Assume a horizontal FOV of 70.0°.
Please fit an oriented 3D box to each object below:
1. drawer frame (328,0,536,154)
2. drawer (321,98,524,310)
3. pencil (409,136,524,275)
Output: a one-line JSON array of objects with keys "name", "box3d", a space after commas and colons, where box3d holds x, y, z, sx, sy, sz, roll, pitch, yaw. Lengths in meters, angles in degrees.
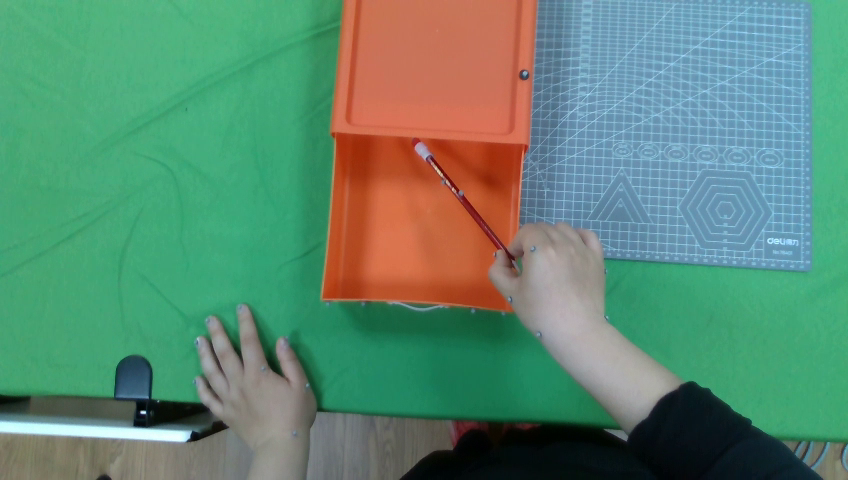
[{"name": "drawer frame", "box3d": [0.012, -0.199, 0.639, 0.201, 0.083, 0.213, 3, 83, 4]}, {"name": "drawer", "box3d": [0.002, -0.036, 0.627, 0.194, 0.073, 0.211, 3, 86, 5]}, {"name": "pencil", "box3d": [0.040, -0.040, 0.597, 0.012, 0.012, 0.192, -36, 68, -1]}]
